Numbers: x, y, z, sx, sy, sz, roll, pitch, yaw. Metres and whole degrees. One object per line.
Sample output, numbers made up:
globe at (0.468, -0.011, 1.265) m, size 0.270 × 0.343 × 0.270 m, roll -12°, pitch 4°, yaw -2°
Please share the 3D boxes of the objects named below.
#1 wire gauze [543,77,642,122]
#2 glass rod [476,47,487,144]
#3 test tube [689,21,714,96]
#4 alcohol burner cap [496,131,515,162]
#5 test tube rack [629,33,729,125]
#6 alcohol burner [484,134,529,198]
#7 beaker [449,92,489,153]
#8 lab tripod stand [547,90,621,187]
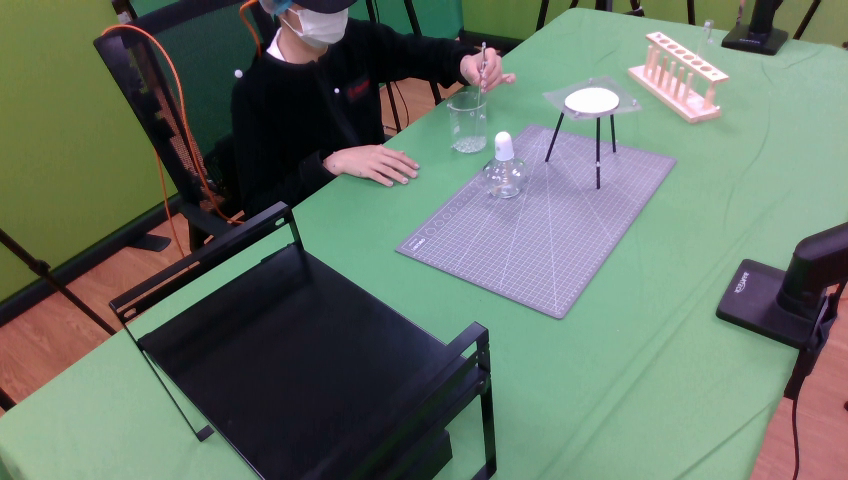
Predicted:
wire gauze at (0.282, -0.236, 1.020) m, size 0.125 × 0.011 × 0.120 m, roll -15°, pitch 40°, yaw -6°
glass rod at (0.108, -0.266, 1.135) m, size 0.008 × 0.200 × 0.008 m, roll 0°, pitch 42°, yaw 0°
test tube at (0.542, -0.353, 1.184) m, size 0.017 × 0.151 × 0.017 m, roll -2°, pitch 40°, yaw 2°
alcohol burner cap at (0.135, -0.160, 1.019) m, size 0.034 × 0.048 × 0.033 m, roll -8°, pitch 37°, yaw 7°
test tube rack at (0.516, -0.337, 1.247) m, size 0.067 × 0.085 × 0.240 m, roll -14°, pitch 41°, yaw -7°
alcohol burner at (0.141, -0.133, 1.041) m, size 0.078 × 0.119 × 0.077 m, roll -5°, pitch 43°, yaw 5°
beaker at (0.091, -0.228, 1.177) m, size 0.073 × 0.101 × 0.084 m, roll 15°, pitch 45°, yaw 24°
lab tripod stand at (0.289, -0.184, 1.062) m, size 0.148 × 0.132 × 0.147 m, roll -6°, pitch 41°, yaw 6°
